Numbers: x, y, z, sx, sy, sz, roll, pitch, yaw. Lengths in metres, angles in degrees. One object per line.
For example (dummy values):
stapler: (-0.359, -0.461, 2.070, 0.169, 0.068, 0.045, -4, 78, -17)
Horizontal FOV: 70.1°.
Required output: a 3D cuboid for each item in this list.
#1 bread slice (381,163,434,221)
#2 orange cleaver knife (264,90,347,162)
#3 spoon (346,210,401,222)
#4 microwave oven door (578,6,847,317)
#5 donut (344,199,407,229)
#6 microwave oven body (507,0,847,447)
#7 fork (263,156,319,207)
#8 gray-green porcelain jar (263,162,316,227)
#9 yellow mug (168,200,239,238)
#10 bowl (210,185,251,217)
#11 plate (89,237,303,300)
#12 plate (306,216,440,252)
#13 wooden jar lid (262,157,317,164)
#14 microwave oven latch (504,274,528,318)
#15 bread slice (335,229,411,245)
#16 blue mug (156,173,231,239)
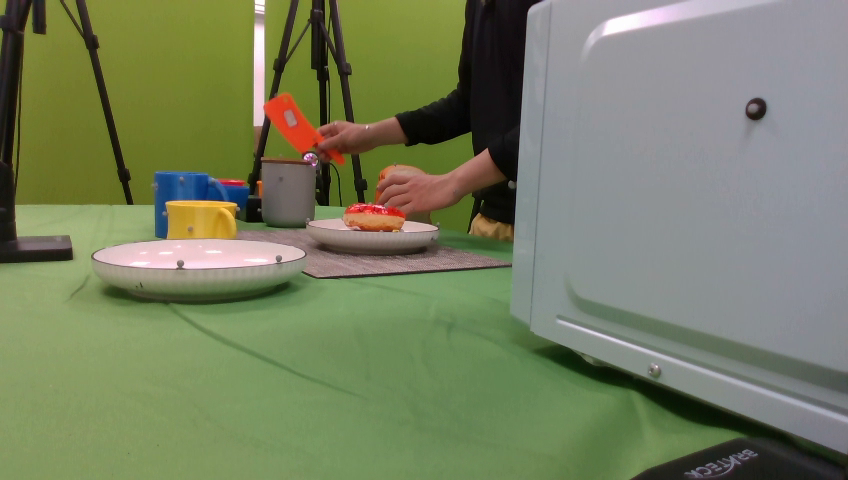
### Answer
bread slice: (-0.034, -0.075, 1.122, 0.107, 0.134, 0.018, -3, 0, -27)
orange cleaver knife: (-0.257, -0.235, 1.322, 0.212, 0.077, 0.012, 47, -23, -25)
spoon: (-0.121, -0.059, 1.400, 0.042, 0.021, 0.192, -28, 25, -37)
microwave oven door: (0.294, -0.067, 0.570, 0.358, 0.243, 0.039, -3, 9, -31)
donut: (-0.076, -0.039, 0.949, 0.099, 0.048, 0.099, 3, 4, 0)
microwave oven body: (0.331, -0.042, 0.425, 0.444, 0.260, 0.324, -2, 8, -31)
fork: (-0.331, -0.144, 1.505, 0.207, 0.018, 0.028, -42, -22, 22)
gray-green porcelain jar: (-0.271, -0.092, 1.217, 0.106, 0.126, 0.106, 2, 7, 0)
yellow mug: (-0.320, -0.023, 0.904, 0.130, 0.064, 0.100, 9, 11, 36)
bowl: (-0.408, -0.064, 1.155, 0.151, 0.077, 0.151, 2, 8, 0)
plate: (-0.233, 0.029, 0.637, 0.208, 0.039, 0.207, 2, 7, 0)
plate: (-0.079, -0.011, 0.950, 0.209, 0.038, 0.209, 2, 8, 0)
wooden jar lid: (-0.269, -0.154, 1.208, 0.108, 0.020, 0.108, 3, 5, 0)
microwave oven latch: (0.100, 0.041, 0.471, 0.079, 0.029, 0.030, -1, 8, -28)
bread slice: (-0.074, -0.005, 0.938, 0.105, 0.019, 0.131, -1, 4, -19)
blue mug: (-0.381, -0.057, 1.004, 0.117, 0.106, 0.082, 0, 8, -12)
